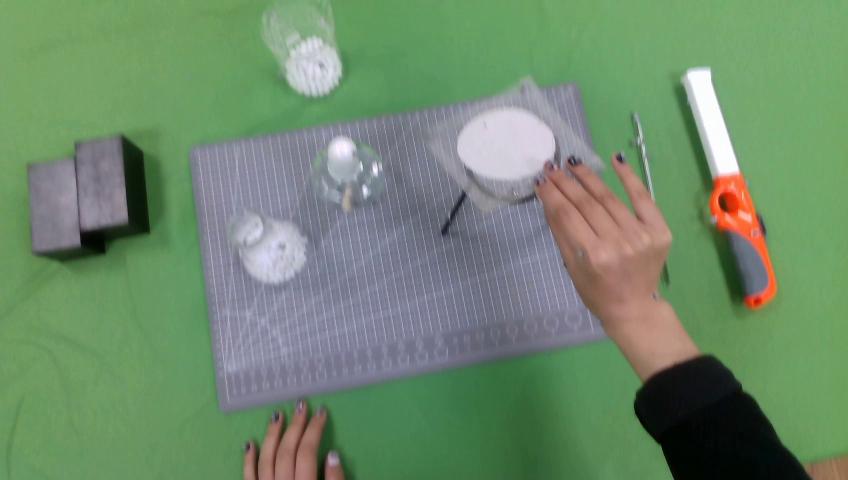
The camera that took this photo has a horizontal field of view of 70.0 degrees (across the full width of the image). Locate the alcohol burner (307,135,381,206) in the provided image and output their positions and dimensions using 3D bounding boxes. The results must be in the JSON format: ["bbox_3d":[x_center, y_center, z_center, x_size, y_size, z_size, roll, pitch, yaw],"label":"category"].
[{"bbox_3d":[-0.084,-0.077,0.623,0.078,0.119,0.077,1,77,-2],"label":"alcohol burner"}]

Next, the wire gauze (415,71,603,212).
[{"bbox_3d":[0.072,-0.089,0.535,0.125,0.011,0.120,-25,60,-10],"label":"wire gauze"}]

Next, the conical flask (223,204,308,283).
[{"bbox_3d":[-0.162,-0.002,0.603,0.075,0.122,0.075,0,78,0],"label":"conical flask"}]

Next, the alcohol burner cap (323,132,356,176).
[{"bbox_3d":[-0.083,-0.087,0.588,0.034,0.048,0.033,2,71,-6],"label":"alcohol burner cap"}]

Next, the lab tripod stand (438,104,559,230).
[{"bbox_3d":[0.076,-0.066,0.612,0.148,0.132,0.148,0,81,0],"label":"lab tripod stand"}]

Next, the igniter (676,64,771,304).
[{"bbox_3d":[0.332,-0.066,0.672,0.057,0.025,0.275,-8,79,-13],"label":"igniter"}]

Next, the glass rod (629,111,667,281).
[{"bbox_3d":[0.249,-0.052,0.678,0.008,0.008,0.199,-6,79,-2],"label":"glass rod"}]

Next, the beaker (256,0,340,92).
[{"bbox_3d":[-0.131,-0.215,0.660,0.074,0.100,0.084,38,80,7],"label":"beaker"}]
